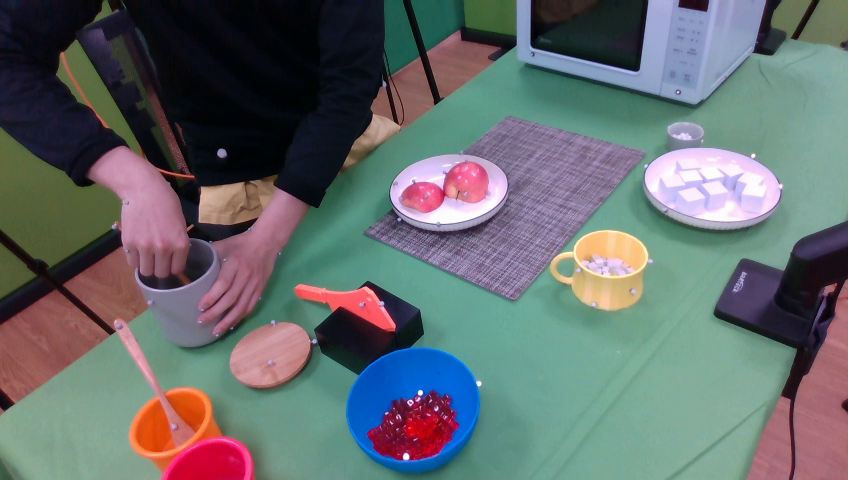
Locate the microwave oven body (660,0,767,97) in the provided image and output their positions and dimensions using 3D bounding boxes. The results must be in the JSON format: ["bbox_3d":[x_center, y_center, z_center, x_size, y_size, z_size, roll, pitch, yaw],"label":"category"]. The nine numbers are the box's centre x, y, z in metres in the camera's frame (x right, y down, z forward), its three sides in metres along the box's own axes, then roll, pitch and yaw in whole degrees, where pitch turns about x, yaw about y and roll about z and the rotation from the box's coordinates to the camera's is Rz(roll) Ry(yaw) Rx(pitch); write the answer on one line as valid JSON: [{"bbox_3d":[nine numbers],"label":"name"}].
[{"bbox_3d":[0.473,-0.517,1.313,0.438,0.261,0.327,26,52,34],"label":"microwave oven body"}]

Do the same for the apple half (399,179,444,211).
[{"bbox_3d":[-0.004,-0.087,1.045,0.081,0.033,0.081,-2,42,2],"label":"apple half"}]

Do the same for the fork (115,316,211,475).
[{"bbox_3d":[-0.308,0.179,0.708,0.028,0.018,0.207,-30,89,-23],"label":"fork"}]

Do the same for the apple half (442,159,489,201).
[{"bbox_3d":[0.074,-0.110,1.047,0.080,0.053,0.075,21,46,30],"label":"apple half"}]

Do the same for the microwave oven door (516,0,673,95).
[{"bbox_3d":[0.344,-0.458,1.256,0.353,0.245,0.039,26,51,33],"label":"microwave oven door"}]

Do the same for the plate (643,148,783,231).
[{"bbox_3d":[0.464,-0.079,0.986,0.207,0.039,0.206,-4,40,4],"label":"plate"}]

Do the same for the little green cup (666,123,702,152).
[{"bbox_3d":[0.472,-0.183,1.102,0.061,0.039,0.061,-5,41,5],"label":"little green cup"}]

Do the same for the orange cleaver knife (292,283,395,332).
[{"bbox_3d":[-0.115,0.092,0.835,0.209,0.077,0.012,1,32,48],"label":"orange cleaver knife"}]

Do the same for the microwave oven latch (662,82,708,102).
[{"bbox_3d":[0.517,-0.298,1.203,0.078,0.029,0.030,27,52,34],"label":"microwave oven latch"}]

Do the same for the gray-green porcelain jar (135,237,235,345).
[{"bbox_3d":[-0.328,0.076,0.845,0.106,0.127,0.105,-1,41,1],"label":"gray-green porcelain jar"}]

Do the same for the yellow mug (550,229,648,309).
[{"bbox_3d":[0.245,0.040,0.857,0.130,0.064,0.099,1,42,11],"label":"yellow mug"}]

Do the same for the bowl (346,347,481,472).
[{"bbox_3d":[-0.008,0.205,0.690,0.151,0.077,0.150,-4,40,4],"label":"bowl"}]

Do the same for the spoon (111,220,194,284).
[{"bbox_3d":[-0.351,0.035,0.841,0.021,0.195,0.041,-33,34,6],"label":"spoon"}]

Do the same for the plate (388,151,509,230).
[{"bbox_3d":[0.043,-0.082,1.042,0.209,0.038,0.208,-4,40,4],"label":"plate"}]

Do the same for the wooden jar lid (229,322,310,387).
[{"bbox_3d":[-0.207,0.156,0.820,0.108,0.021,0.108,-3,39,3],"label":"wooden jar lid"}]
